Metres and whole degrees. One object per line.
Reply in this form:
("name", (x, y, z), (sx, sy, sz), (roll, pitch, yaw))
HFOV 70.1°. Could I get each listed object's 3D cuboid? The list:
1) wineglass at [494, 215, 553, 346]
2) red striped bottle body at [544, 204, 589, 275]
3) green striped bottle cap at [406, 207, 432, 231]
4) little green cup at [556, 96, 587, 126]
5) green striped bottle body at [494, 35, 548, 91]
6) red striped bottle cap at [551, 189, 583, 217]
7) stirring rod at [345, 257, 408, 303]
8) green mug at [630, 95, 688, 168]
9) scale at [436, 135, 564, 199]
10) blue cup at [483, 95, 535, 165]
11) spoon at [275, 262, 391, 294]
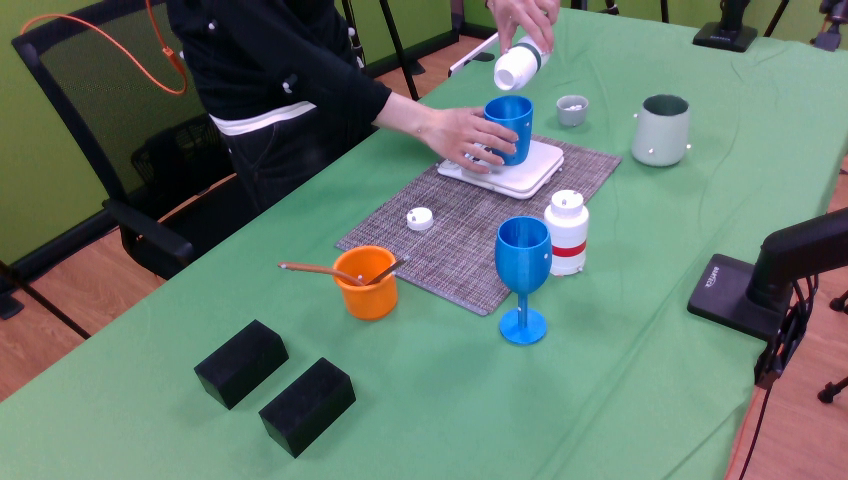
("wineglass", (0.127, 0.055, 0.770), (0.074, 0.173, 0.073), (-4, 40, 4))
("red striped bottle body", (0.206, -0.011, 0.877), (0.063, 0.120, 0.062), (-5, 41, 4))
("green striped bottle cap", (-0.008, -0.035, 1.011), (0.044, 0.020, 0.044), (-2, 42, 2))
("little green cup", (0.295, -0.258, 1.214), (0.061, 0.039, 0.061), (-4, 42, 4))
("green striped bottle body", (0.163, -0.301, 1.040), (0.063, 0.063, 0.119), (18, 46, 26))
("red striped bottle cap", (0.200, -0.052, 0.843), (0.044, 0.018, 0.044), (-2, 42, 2))
("stirring rod", (-0.067, 0.056, 0.815), (0.014, 0.175, 0.006), (-22, 81, -37))
("green mug", (0.421, -0.201, 1.081), (0.092, 0.105, 0.125), (5, 42, 15))
("scale", (0.137, -0.142, 1.101), (0.199, 0.032, 0.149), (22, 48, 30))
("blue cup", (0.149, -0.187, 1.052), (0.092, 0.101, 0.092), (-6, 41, 6))
("spoon", (-0.120, 0.050, 0.830), (0.041, 0.195, 0.021), (31, 96, 45))
